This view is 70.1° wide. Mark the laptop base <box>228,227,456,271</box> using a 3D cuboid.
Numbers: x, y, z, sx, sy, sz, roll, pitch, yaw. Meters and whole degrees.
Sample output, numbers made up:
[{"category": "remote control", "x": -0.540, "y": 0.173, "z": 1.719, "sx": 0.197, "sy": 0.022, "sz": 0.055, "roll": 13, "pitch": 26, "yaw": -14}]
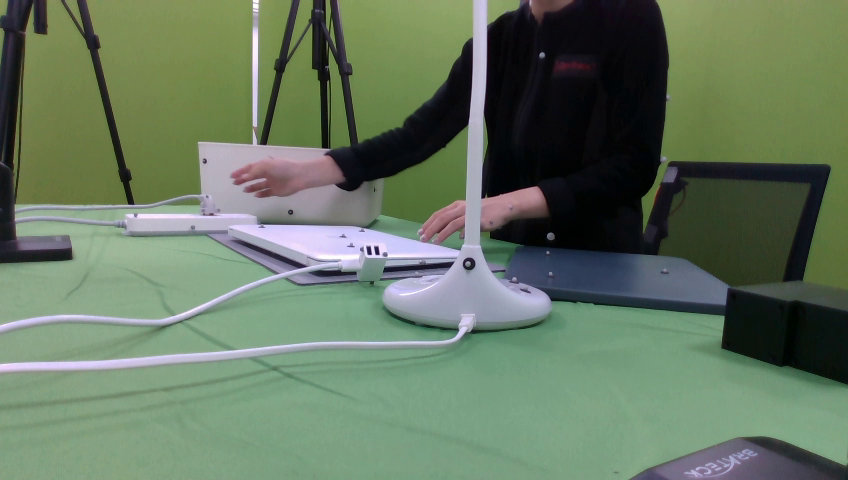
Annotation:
[{"category": "laptop base", "x": -0.122, "y": 0.011, "z": 0.889, "sx": 0.237, "sy": 0.023, "sz": 0.352, "roll": 2, "pitch": 6, "yaw": -35}]

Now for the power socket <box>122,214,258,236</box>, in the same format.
[{"category": "power socket", "x": -0.399, "y": -0.028, "z": 1.049, "sx": 0.228, "sy": 0.032, "sz": 0.072, "roll": -3, "pitch": 8, "yaw": -34}]

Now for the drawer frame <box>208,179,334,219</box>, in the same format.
[{"category": "drawer frame", "x": -0.326, "y": -0.093, "z": 1.328, "sx": 0.213, "sy": 0.082, "sz": 0.202, "roll": -1, "pitch": 5, "yaw": 6}]

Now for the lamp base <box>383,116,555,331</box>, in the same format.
[{"category": "lamp base", "x": 0.045, "y": -0.019, "z": 0.547, "sx": 0.161, "sy": 0.180, "sz": 0.179, "roll": 2, "pitch": 10, "yaw": -4}]

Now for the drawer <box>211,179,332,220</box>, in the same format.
[{"category": "drawer", "x": -0.328, "y": -0.095, "z": 1.331, "sx": 0.212, "sy": 0.073, "sz": 0.194, "roll": 5, "pitch": 8, "yaw": 5}]

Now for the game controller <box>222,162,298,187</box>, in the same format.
[{"category": "game controller", "x": -0.357, "y": -0.143, "z": 1.322, "sx": 0.156, "sy": 0.051, "sz": 0.097, "roll": 1, "pitch": 3, "yaw": -17}]

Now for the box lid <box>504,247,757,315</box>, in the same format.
[{"category": "box lid", "x": 0.244, "y": 0.044, "z": 0.793, "sx": 0.263, "sy": 0.015, "sz": 0.372, "roll": 4, "pitch": 7, "yaw": 10}]

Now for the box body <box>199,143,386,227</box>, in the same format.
[{"category": "box body", "x": -0.276, "y": -0.124, "z": 1.335, "sx": 0.364, "sy": 0.160, "sz": 0.254, "roll": 3, "pitch": 7, "yaw": 1}]

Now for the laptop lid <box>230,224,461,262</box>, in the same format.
[{"category": "laptop lid", "x": -0.120, "y": 0.000, "z": 0.889, "sx": 0.243, "sy": 0.013, "sz": 0.355, "roll": 1, "pitch": 7, "yaw": -33}]

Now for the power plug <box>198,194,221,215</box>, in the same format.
[{"category": "power plug", "x": -0.387, "y": -0.055, "z": 1.089, "sx": 0.035, "sy": 0.052, "sz": 0.072, "roll": -1, "pitch": 6, "yaw": -22}]

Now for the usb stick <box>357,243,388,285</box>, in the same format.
[{"category": "usb stick", "x": -0.058, "y": 0.029, "z": 0.658, "sx": 0.027, "sy": 0.059, "sz": 0.021, "roll": -4, "pitch": 53, "yaw": -18}]
